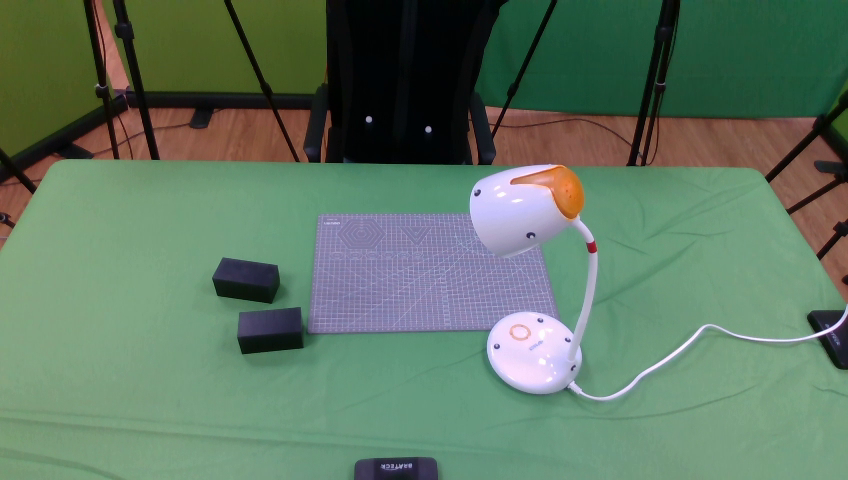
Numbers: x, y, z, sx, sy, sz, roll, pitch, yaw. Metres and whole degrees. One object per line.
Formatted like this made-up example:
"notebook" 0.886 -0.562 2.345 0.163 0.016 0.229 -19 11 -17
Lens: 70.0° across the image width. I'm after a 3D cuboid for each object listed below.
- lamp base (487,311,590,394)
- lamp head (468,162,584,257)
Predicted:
"lamp base" 0.199 0.142 0.962 0.178 0.181 0.160 38 56 24
"lamp head" 0.135 -0.043 0.746 0.122 0.113 0.112 -15 30 42
